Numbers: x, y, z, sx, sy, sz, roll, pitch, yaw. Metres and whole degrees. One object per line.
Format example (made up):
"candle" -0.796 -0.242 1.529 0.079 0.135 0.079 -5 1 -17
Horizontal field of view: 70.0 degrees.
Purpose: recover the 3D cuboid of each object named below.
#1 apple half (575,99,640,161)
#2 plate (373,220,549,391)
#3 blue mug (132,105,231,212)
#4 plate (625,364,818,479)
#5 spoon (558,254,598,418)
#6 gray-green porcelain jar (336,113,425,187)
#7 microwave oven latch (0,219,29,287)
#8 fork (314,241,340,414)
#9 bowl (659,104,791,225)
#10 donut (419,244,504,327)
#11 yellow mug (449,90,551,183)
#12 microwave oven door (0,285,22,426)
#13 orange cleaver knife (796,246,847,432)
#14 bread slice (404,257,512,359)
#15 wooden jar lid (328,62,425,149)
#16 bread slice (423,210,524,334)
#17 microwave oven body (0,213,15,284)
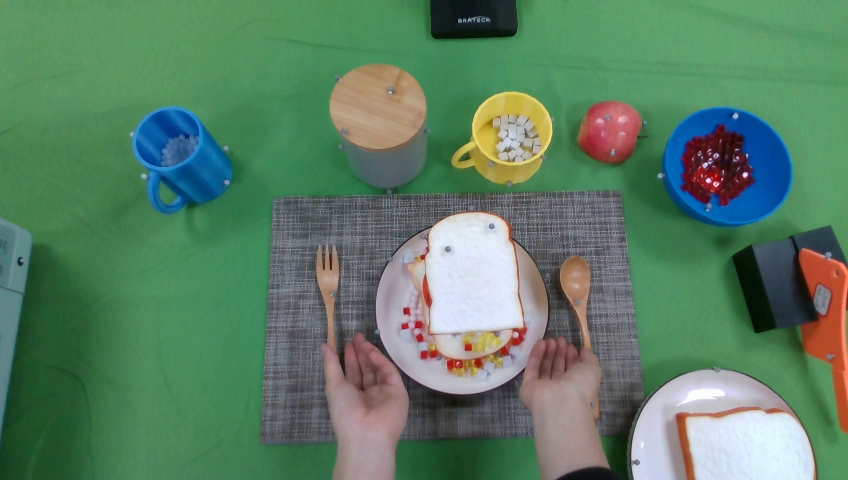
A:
"apple half" 0.239 -0.149 0.782 0.074 0.053 0.080 20 76 8
"plate" 0.043 0.076 0.725 0.208 0.039 0.206 0 74 0
"blue mug" -0.300 -0.089 0.741 0.082 0.106 0.116 19 75 6
"plate" 0.327 0.245 0.680 0.209 0.038 0.208 0 74 1
"spoon" 0.188 0.112 0.721 0.042 0.021 0.192 1 73 -22
"gray-green porcelain jar" -0.051 -0.131 0.741 0.106 0.127 0.105 0 74 0
"microwave oven latch" -0.500 0.016 0.728 0.030 0.029 0.078 2 75 1
"fork" -0.114 0.102 0.727 0.028 0.018 0.206 0 73 -22
"bowl" 0.357 -0.081 0.749 0.151 0.077 0.150 0 75 1
"donut" 0.044 0.053 0.702 0.099 0.048 0.098 0 75 1
"yellow mug" 0.092 -0.125 0.770 0.131 0.064 0.099 -23 75 -5
"microwave oven door" -0.501 0.199 0.573 0.039 0.245 0.353 -1 74 1
"orange cleaver knife" 0.460 0.111 0.693 0.012 0.077 0.211 -11 96 -10
"bread slice" 0.048 0.073 0.725 0.107 0.018 0.133 -19 77 -4
"wooden jar lid" -0.053 -0.148 0.679 0.108 0.021 0.107 1 72 -2
"bread slice" 0.048 0.034 0.644 0.105 0.019 0.131 -6 88 5
"microwave oven body" -0.647 0.162 0.589 0.326 0.261 0.439 -1 75 0
